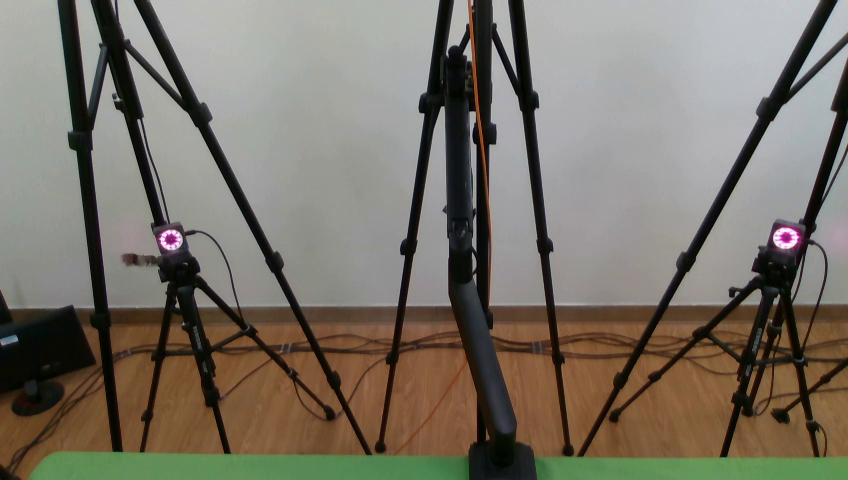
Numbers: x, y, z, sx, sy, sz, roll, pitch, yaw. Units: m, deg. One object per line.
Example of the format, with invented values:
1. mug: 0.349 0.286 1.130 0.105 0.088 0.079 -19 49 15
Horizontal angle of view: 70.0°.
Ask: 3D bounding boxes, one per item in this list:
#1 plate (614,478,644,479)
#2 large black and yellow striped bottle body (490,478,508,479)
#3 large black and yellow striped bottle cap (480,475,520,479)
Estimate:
1. plate: 0.345 0.472 0.949 0.209 0.038 0.207 -2 32 2
2. large black and yellow striped bottle body: 0.109 0.445 0.867 0.131 0.185 0.129 -1 32 1
3. large black and yellow striped bottle cap: 0.107 0.372 0.823 0.115 0.019 0.114 -1 33 1
